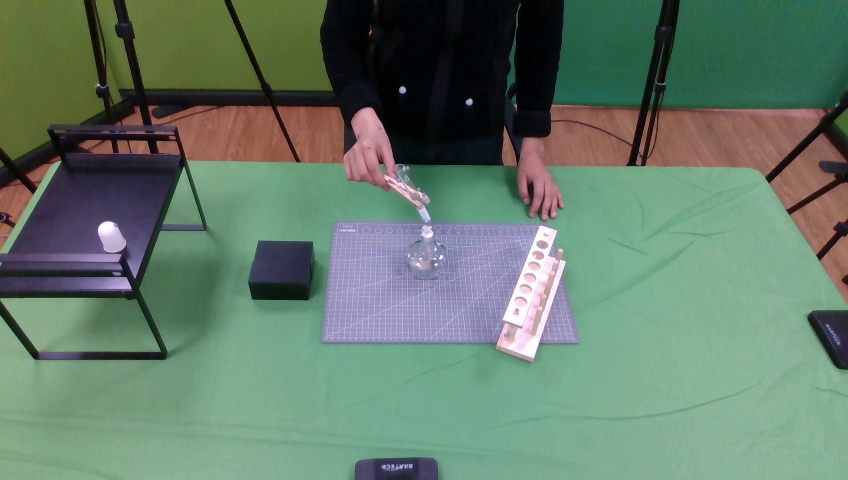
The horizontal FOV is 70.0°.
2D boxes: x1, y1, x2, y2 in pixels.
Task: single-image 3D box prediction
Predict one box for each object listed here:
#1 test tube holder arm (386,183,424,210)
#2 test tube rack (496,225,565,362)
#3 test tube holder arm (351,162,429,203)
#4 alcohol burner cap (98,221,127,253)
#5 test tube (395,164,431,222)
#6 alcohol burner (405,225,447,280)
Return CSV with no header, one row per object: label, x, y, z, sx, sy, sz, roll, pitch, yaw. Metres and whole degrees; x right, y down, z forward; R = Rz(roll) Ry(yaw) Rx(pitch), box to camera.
test tube holder arm,-0.033,-0.076,1.015,0.010,0.015,0.087,-45,55,-10
test tube rack,0.200,0.089,1.081,0.066,0.085,0.241,19,48,13
test tube holder arm,-0.061,-0.100,1.040,0.177,0.015,0.013,29,72,33
alcohol burner cap,-0.468,-0.007,0.905,0.034,0.048,0.033,3,46,-3
test tube,-0.017,-0.074,0.996,0.017,0.151,0.017,-10,56,15
alcohol burner,0.005,0.017,1.115,0.078,0.120,0.077,1,47,-1
